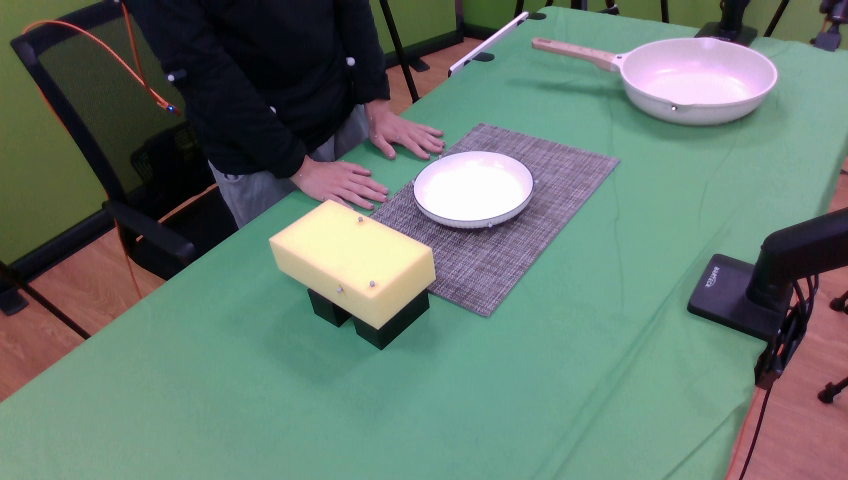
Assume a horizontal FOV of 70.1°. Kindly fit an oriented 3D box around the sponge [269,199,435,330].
[{"bbox_3d":[-0.102,0.027,0.846,0.205,0.061,0.118,25,50,32],"label":"sponge"}]

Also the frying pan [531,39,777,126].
[{"bbox_3d":[0.452,-0.354,1.254,0.485,0.103,0.307,22,47,19],"label":"frying pan"}]

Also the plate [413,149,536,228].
[{"bbox_3d":[0.086,-0.085,1.038,0.207,0.039,0.206,-4,40,4],"label":"plate"}]
